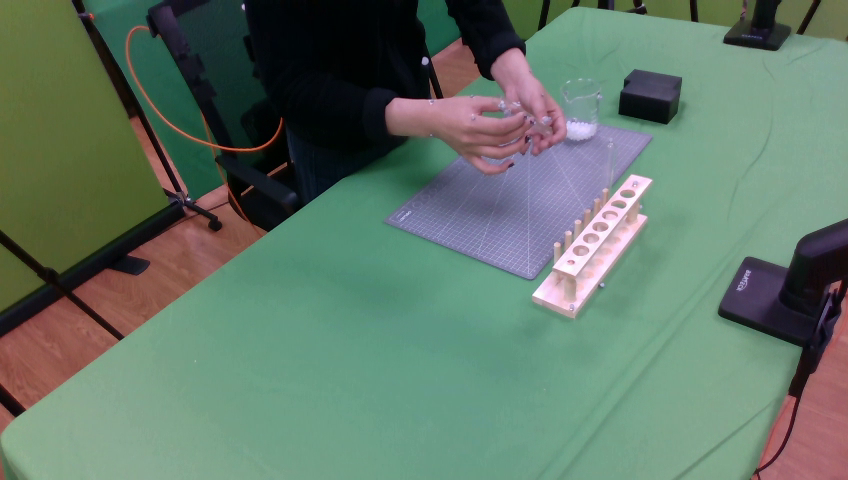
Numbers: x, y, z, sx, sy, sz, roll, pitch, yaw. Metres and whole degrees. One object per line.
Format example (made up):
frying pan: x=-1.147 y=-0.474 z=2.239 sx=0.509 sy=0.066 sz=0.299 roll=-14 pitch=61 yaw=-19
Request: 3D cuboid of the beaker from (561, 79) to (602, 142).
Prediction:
beaker: x=0.295 y=-0.243 z=1.150 sx=0.073 sy=0.101 sz=0.084 roll=22 pitch=50 yaw=32

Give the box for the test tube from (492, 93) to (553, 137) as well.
test tube: x=0.138 y=-0.169 z=0.829 sx=0.017 sy=0.017 sz=0.152 roll=31 pitch=11 yaw=38

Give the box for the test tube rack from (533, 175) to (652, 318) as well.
test tube rack: x=0.251 y=-0.001 z=0.888 sx=0.066 sy=0.085 sz=0.243 roll=22 pitch=49 yaw=32

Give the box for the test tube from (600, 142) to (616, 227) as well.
test tube: x=0.275 y=-0.081 z=0.908 sx=0.017 sy=0.151 sz=0.017 roll=-5 pitch=40 yaw=5
